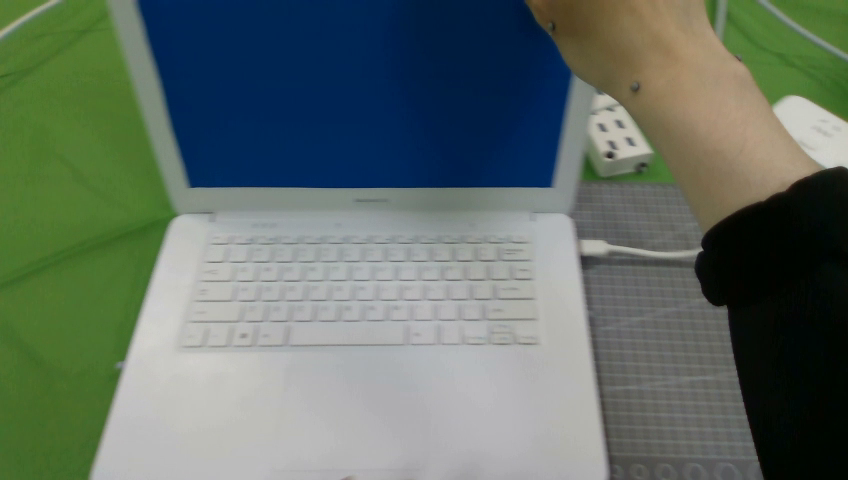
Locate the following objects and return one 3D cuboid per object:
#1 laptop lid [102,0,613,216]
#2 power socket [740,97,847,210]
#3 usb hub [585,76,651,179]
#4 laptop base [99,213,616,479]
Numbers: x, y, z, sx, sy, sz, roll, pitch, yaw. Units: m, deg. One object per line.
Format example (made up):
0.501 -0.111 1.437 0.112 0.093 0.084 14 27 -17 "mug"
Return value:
-0.046 -0.109 0.466 0.357 0.244 0.013 -1 41 2 "laptop lid"
0.411 -0.059 0.564 0.072 0.033 0.224 -33 60 -22 "power socket"
0.176 -0.117 0.611 0.049 0.025 0.124 -12 55 -8 "usb hub"
-0.045 0.077 0.476 0.354 0.023 0.233 0 58 1 "laptop base"
